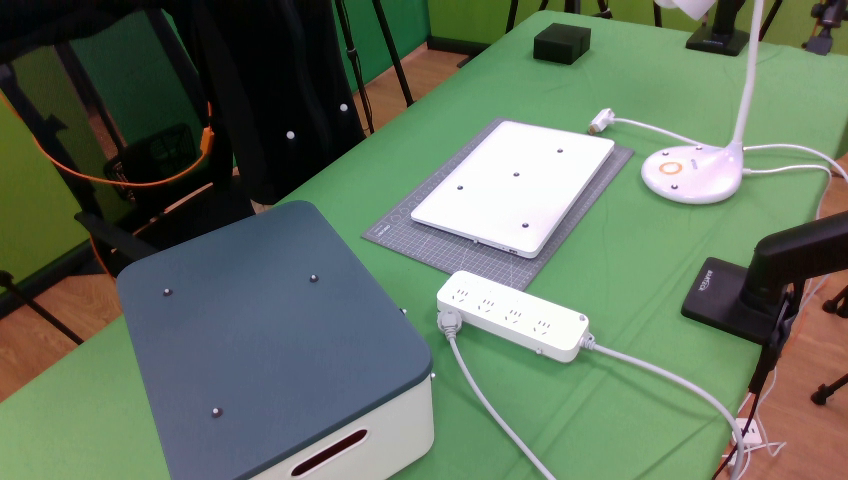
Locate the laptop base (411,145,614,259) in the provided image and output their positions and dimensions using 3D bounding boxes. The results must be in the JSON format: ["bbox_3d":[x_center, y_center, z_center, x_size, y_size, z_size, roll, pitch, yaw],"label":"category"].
[{"bbox_3d":[0.167,-0.102,1.074,0.234,0.023,0.355,17,45,30],"label":"laptop base"}]

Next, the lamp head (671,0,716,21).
[{"bbox_3d":[0.375,-0.373,0.807,0.122,0.113,0.112,-40,27,32],"label":"lamp head"}]

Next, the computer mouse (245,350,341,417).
[{"bbox_3d":[-0.164,0.173,0.754,0.118,0.041,0.062,-18,33,-18],"label":"computer mouse"}]

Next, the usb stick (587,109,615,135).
[{"bbox_3d":[0.344,-0.229,1.184,0.059,0.021,0.027,-47,21,-8],"label":"usb stick"}]

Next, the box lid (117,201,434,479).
[{"bbox_3d":[-0.182,0.087,0.675,0.264,0.015,0.368,-25,42,-20],"label":"box lid"}]

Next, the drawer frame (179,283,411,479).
[{"bbox_3d":[-0.155,0.179,0.727,0.202,0.083,0.211,-28,49,-20],"label":"drawer frame"}]

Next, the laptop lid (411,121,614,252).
[{"bbox_3d":[0.164,-0.112,1.068,0.240,0.013,0.357,19,46,30],"label":"laptop lid"}]

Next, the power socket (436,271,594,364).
[{"bbox_3d":[0.118,0.102,0.830,0.225,0.033,0.072,20,49,28],"label":"power socket"}]

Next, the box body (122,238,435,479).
[{"bbox_3d":[-0.175,0.142,0.725,0.255,0.161,0.360,-25,43,-20],"label":"box body"}]

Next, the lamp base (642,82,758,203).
[{"bbox_3d":[0.464,-0.174,0.992,0.179,0.181,0.159,-5,41,-1],"label":"lamp base"}]

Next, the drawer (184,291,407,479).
[{"bbox_3d":[-0.155,0.180,0.720,0.195,0.073,0.210,-27,41,-21],"label":"drawer"}]

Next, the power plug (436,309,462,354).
[{"bbox_3d":[0.030,0.125,0.810,0.035,0.053,0.072,7,57,10],"label":"power plug"}]
